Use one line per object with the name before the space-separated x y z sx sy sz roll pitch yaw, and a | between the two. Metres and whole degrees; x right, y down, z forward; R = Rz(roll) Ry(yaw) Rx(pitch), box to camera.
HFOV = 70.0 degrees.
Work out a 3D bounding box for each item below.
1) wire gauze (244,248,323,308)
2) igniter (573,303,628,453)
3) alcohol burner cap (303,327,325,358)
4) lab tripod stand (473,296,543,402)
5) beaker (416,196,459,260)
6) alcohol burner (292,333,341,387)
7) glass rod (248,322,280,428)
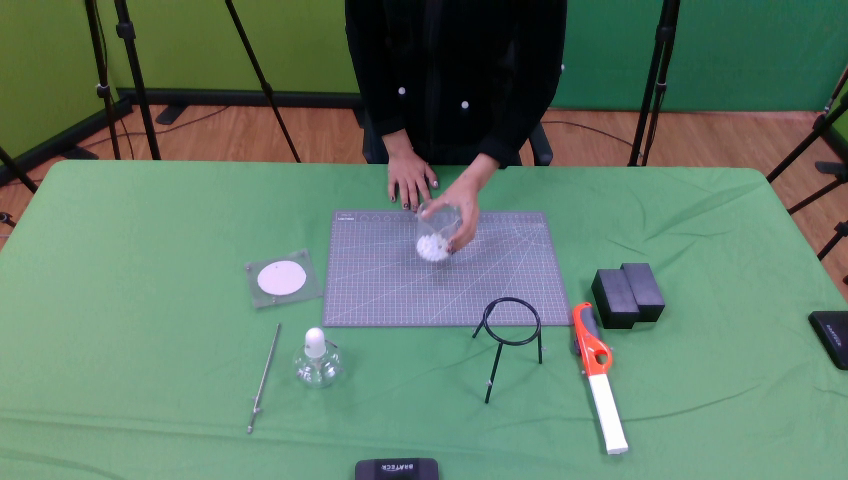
wire gauze | -0.262 0.071 1.121 0.125 0.011 0.120 -11 48 -17
igniter | 0.288 0.217 1.006 0.057 0.025 0.274 -9 46 8
alcohol burner cap | -0.169 0.154 0.925 0.034 0.048 0.033 4 41 -3
lab tripod stand | 0.132 0.168 0.969 0.148 0.132 0.147 3 48 -3
beaker | 0.022 -0.016 1.103 0.074 0.101 0.083 4 48 -1
alcohol burner | -0.170 0.179 0.950 0.078 0.120 0.077 2 48 -2
glass rod | -0.258 0.213 0.984 0.008 0.008 0.198 4 46 1
